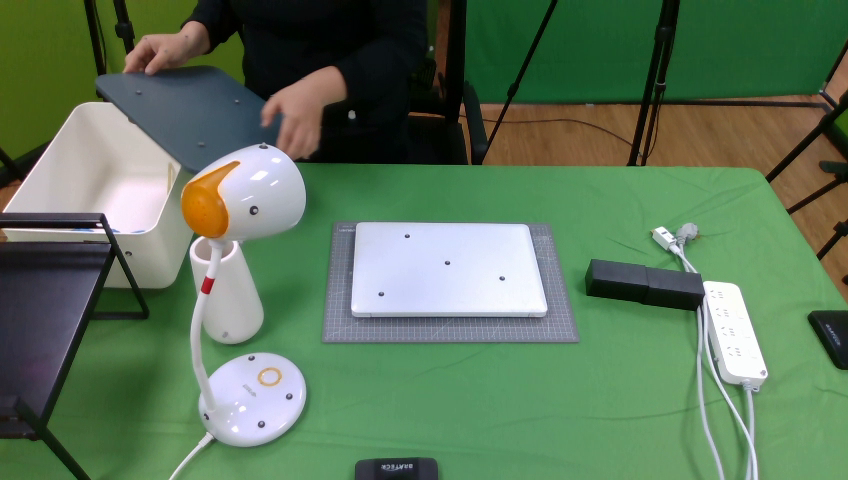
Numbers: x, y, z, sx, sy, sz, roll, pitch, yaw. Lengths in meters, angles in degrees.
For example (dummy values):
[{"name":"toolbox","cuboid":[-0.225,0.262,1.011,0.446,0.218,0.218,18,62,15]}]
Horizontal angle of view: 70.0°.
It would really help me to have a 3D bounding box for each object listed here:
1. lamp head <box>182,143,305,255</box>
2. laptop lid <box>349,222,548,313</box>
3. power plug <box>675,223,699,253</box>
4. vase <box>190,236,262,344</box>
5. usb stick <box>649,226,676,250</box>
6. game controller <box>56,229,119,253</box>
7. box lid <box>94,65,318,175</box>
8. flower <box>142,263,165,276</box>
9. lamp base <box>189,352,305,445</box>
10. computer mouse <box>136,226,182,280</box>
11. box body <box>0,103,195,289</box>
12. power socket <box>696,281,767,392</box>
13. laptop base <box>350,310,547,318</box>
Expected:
[{"name":"lamp head","cuboid":[-0.216,-0.044,0.697,0.112,0.113,0.123,23,31,17]},{"name":"laptop lid","cuboid":[0.042,0.046,1.142,0.357,0.013,0.240,2,44,-3]},{"name":"power plug","cuboid":[0.537,0.000,1.244,0.053,0.035,0.072,19,83,-17]},{"name":"vase","cuboid":[-0.317,0.081,0.971,0.098,0.201,0.097,3,47,-3]},{"name":"usb stick","cuboid":[0.485,-0.008,1.237,0.021,0.027,0.059,-22,44,-13]},{"name":"game controller","cuboid":[-0.597,0.011,1.116,0.155,0.052,0.096,1,48,-1]},{"name":"box lid","cuboid":[-0.400,-0.231,1.120,0.369,0.015,0.263,37,39,26]},{"name":"flower","cuboid":[-0.494,-0.052,1.174,0.044,0.038,0.359,-38,35,16]},{"name":"lamp base","cuboid":[-0.268,0.196,0.876,0.160,0.181,0.179,25,52,20]},{"name":"computer mouse","cuboid":[-0.489,0.020,1.118,0.063,0.041,0.116,2,54,-6]},{"name":"box body","cuboid":[-0.563,-0.087,1.139,0.254,0.161,0.361,2,46,-3]},{"name":"power socket","cuboid":[0.543,0.161,1.077,0.072,0.033,0.225,6,46,2]},{"name":"laptop base","cuboid":[0.041,0.056,1.149,0.355,0.023,0.234,0,43,-4]}]
